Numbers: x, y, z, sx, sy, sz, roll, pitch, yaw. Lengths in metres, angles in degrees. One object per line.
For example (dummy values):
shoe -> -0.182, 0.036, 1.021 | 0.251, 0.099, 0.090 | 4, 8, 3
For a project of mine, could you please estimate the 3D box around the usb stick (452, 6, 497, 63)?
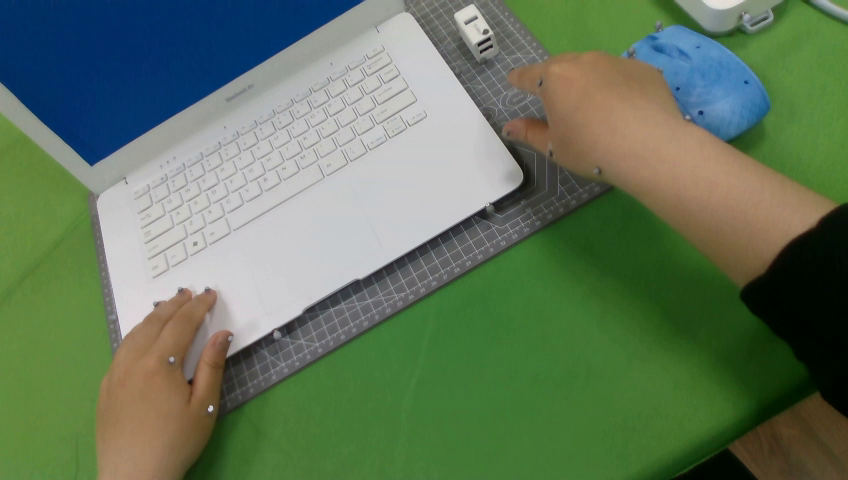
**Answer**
usb stick -> 0.042, -0.188, 0.542 | 0.021, 0.027, 0.058 | -30, 55, 7

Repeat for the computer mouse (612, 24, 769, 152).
computer mouse -> 0.193, -0.119, 0.448 | 0.063, 0.041, 0.116 | -32, 53, 4

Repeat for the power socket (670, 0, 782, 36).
power socket -> 0.215, -0.256, 0.515 | 0.072, 0.033, 0.224 | -28, 58, 5

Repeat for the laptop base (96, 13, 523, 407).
laptop base -> -0.118, -0.039, 0.529 | 0.354, 0.023, 0.233 | -31, 61, 2

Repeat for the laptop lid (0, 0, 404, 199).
laptop lid -> -0.213, -0.197, 0.508 | 0.357, 0.244, 0.013 | -32, 44, 3
